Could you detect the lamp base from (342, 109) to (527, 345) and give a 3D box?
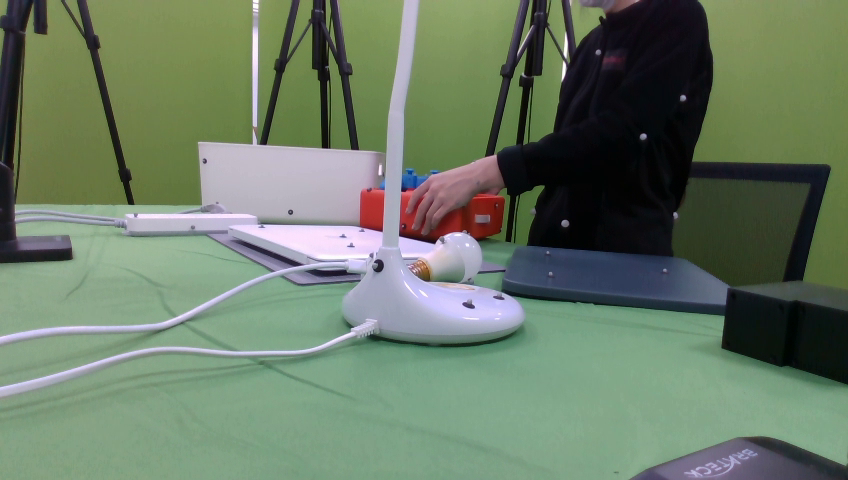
[{"bbox_3d":[0.006,-0.015,0.505,0.160,0.180,0.180,6,11,29],"label":"lamp base"}]

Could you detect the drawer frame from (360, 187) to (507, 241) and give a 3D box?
[{"bbox_3d":[0.021,-0.056,1.152,0.213,0.082,0.202,7,10,28],"label":"drawer frame"}]

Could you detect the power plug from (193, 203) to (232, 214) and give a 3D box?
[{"bbox_3d":[-0.393,-0.042,1.139,0.072,0.052,0.035,-14,2,31],"label":"power plug"}]

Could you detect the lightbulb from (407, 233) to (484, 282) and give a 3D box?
[{"bbox_3d":[0.020,0.028,0.694,0.108,0.059,0.059,-20,19,-31],"label":"lightbulb"}]

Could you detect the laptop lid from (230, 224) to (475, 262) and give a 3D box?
[{"bbox_3d":[-0.119,0.000,0.889,0.243,0.013,0.355,1,7,-33],"label":"laptop lid"}]

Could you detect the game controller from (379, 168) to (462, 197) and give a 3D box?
[{"bbox_3d":[-0.002,-0.109,1.154,0.155,0.051,0.097,5,5,5],"label":"game controller"}]

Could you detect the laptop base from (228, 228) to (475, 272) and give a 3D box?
[{"bbox_3d":[-0.122,0.011,0.889,0.237,0.023,0.352,1,6,-35],"label":"laptop base"}]

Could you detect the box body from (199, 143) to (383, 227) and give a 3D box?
[{"bbox_3d":[-0.276,-0.124,1.335,0.364,0.160,0.254,3,7,1],"label":"box body"}]

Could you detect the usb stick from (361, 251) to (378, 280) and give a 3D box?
[{"bbox_3d":[-0.051,0.033,0.656,0.027,0.021,0.059,4,-27,-21],"label":"usb stick"}]

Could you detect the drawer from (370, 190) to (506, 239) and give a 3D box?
[{"bbox_3d":[0.024,-0.056,1.153,0.211,0.073,0.195,9,10,28],"label":"drawer"}]

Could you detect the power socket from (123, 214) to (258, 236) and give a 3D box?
[{"bbox_3d":[-0.398,-0.028,1.049,0.228,0.032,0.072,-3,8,-34],"label":"power socket"}]

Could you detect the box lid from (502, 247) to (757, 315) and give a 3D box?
[{"bbox_3d":[0.244,0.044,0.793,0.263,0.015,0.372,4,7,10],"label":"box lid"}]
